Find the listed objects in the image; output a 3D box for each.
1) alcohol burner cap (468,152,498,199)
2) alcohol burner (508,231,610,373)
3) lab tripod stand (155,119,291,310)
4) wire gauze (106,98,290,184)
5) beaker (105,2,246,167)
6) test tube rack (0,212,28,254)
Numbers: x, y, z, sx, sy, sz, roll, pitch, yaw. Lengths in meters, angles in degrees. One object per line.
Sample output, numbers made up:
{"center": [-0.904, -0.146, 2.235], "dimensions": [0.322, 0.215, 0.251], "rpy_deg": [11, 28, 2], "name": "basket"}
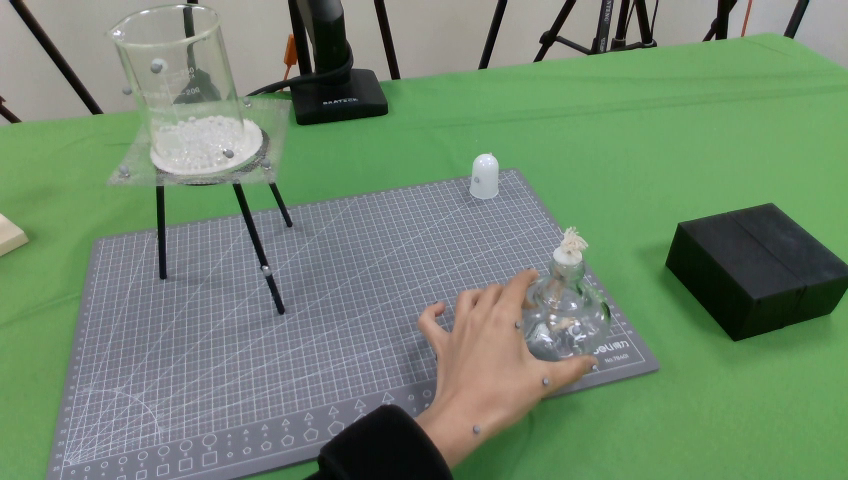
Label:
{"center": [0.063, -0.071, 0.645], "dimensions": [0.034, 0.048, 0.033], "rpy_deg": [0, 40, 0], "name": "alcohol burner cap"}
{"center": [0.103, 0.043, 0.455], "dimensions": [0.078, 0.120, 0.077], "rpy_deg": [0, 39, 1], "name": "alcohol burner"}
{"center": [-0.169, -0.024, 0.520], "dimensions": [0.148, 0.133, 0.147], "rpy_deg": [-1, 42, 1], "name": "lab tripod stand"}
{"center": [-0.174, -0.079, 0.484], "dimensions": [0.125, 0.011, 0.120], "rpy_deg": [-4, 40, 0], "name": "wire gauze"}
{"center": [-0.178, -0.111, 0.446], "dimensions": [0.084, 0.101, 0.073], "rpy_deg": [1, 41, 2], "name": "beaker"}
{"center": [-0.491, 0.017, 0.515], "dimensions": [0.066, 0.086, 0.242], "rpy_deg": [26, 47, 28], "name": "test tube rack"}
